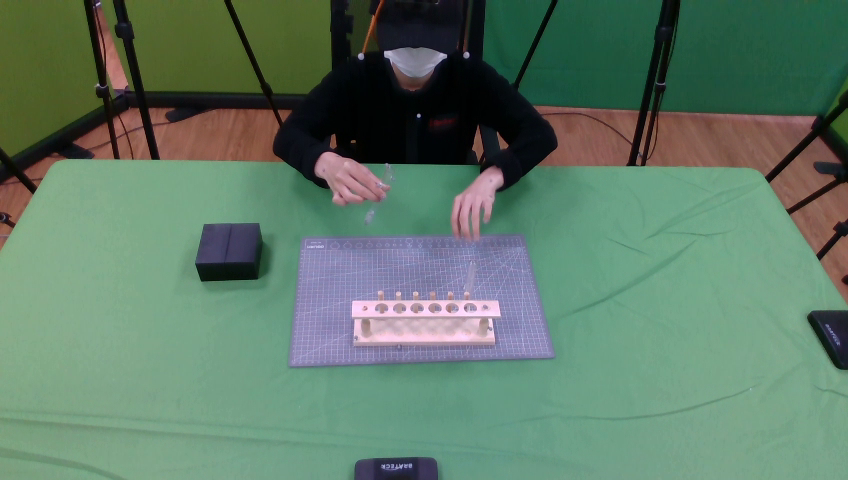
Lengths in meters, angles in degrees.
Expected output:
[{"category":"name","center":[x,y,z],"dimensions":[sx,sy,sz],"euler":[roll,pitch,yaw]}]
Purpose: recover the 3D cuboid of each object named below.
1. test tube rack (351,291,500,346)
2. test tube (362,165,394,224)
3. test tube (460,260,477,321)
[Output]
[{"category":"test tube rack","center":[0.000,0.129,1.026],"dimensions":[0.242,0.085,0.066],"euler":[0,46,-4]},{"category":"test tube","center":[-0.082,-0.076,1.058],"dimensions":[0.017,0.150,0.017],"euler":[13,50,-16]},{"category":"test tube","center":[0.073,0.086,1.011],"dimensions":[0.017,0.151,0.017],"euler":[2,46,-2]}]
